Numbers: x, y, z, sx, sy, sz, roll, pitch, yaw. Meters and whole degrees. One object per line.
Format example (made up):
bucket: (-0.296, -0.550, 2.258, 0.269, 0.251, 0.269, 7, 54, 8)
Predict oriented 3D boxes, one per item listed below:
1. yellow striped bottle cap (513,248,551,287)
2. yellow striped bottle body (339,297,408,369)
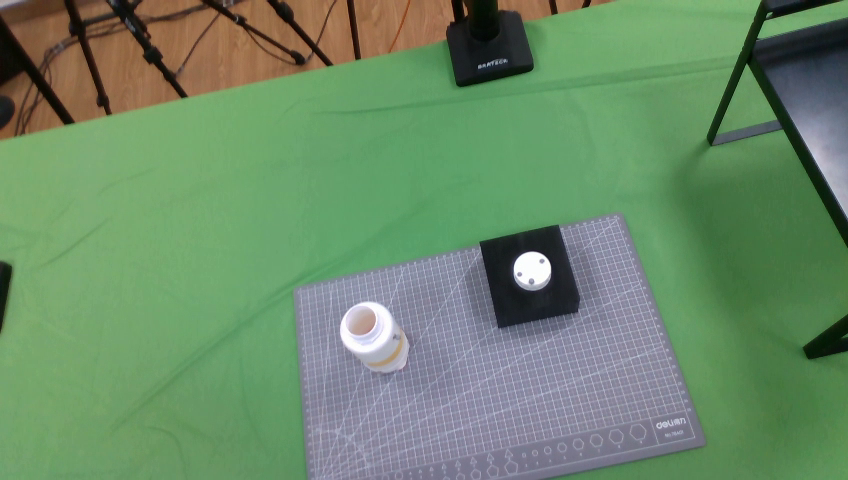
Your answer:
yellow striped bottle cap: (0.128, 0.032, 0.717, 0.044, 0.019, 0.044, -3, 68, 7)
yellow striped bottle body: (-0.060, 0.108, 0.712, 0.063, 0.121, 0.062, -4, 65, 8)
